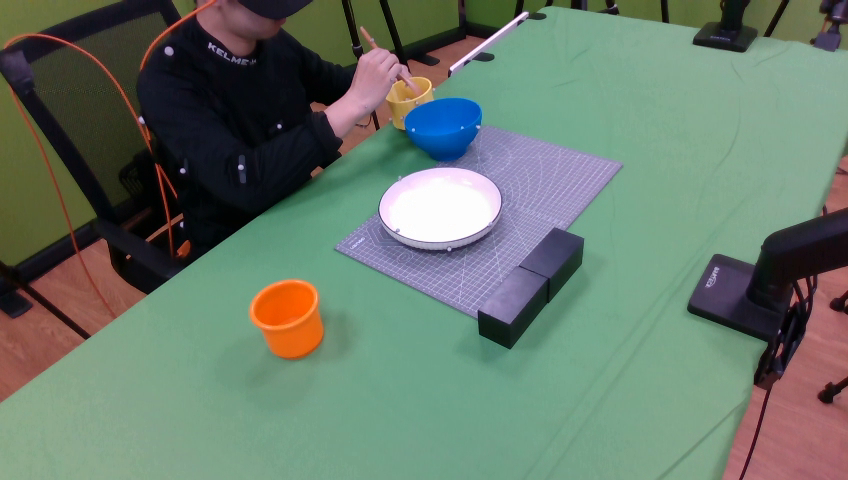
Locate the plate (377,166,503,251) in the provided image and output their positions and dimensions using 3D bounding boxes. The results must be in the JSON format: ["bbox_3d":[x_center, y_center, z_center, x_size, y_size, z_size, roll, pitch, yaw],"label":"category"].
[{"bbox_3d":[0.027,-0.050,1.007,0.209,0.038,0.208,-4,41,4],"label":"plate"}]

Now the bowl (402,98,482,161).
[{"bbox_3d":[0.040,-0.203,1.154,0.151,0.077,0.150,-7,38,6],"label":"bowl"}]

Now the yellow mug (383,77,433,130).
[{"bbox_3d":[-0.034,-0.289,1.253,0.100,0.064,0.129,-30,41,-12],"label":"yellow mug"}]

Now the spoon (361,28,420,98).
[{"bbox_3d":[-0.062,-0.335,1.189,0.021,0.195,0.041,-30,30,27],"label":"spoon"}]
